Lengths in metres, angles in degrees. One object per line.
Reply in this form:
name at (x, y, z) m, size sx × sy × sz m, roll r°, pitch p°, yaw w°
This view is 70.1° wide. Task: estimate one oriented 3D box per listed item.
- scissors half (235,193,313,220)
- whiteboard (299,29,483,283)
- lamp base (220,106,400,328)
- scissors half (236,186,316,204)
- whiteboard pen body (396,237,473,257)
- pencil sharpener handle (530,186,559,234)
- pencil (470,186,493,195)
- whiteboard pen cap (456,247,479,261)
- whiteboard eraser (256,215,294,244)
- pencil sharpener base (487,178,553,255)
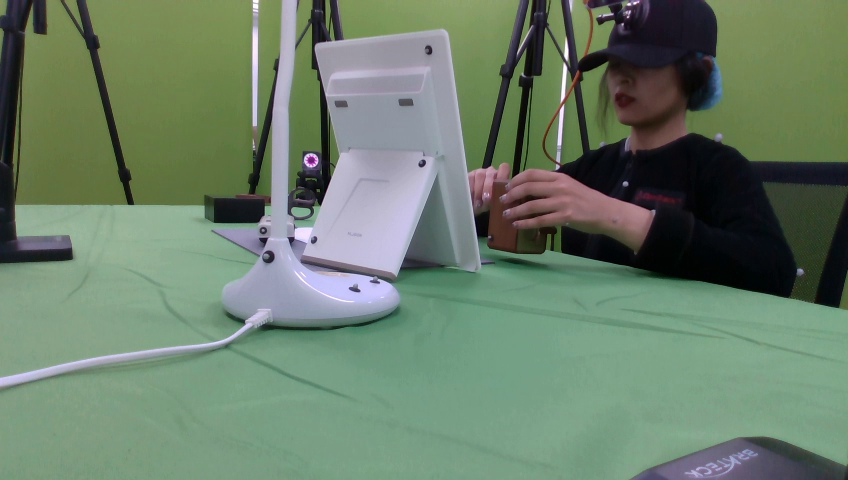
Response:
scissors half at (-0.325, -0.077, 1.319) m, size 0.176 × 0.040 × 0.012 m, roll 17°, pitch 6°, yaw -31°
whiteboard at (-0.074, -0.082, 0.742) m, size 0.216 × 0.305 × 0.144 m, roll 9°, pitch 30°, yaw 38°
lamp base at (-0.101, -0.023, 0.531) m, size 0.160 × 0.180 × 0.179 m, roll 4°, pitch 10°, yaw 10°
scissors half at (-0.320, -0.097, 1.316) m, size 0.176 × 0.040 × 0.013 m, roll -3°, pitch 11°, yaw -29°
whiteboard pen body at (0.014, 0.012, 0.886) m, size 0.140 × 0.017 × 0.017 m, roll 10°, pitch 10°, yaw 38°
pencil sharpener handle at (0.173, -0.041, 0.848) m, size 0.036 × 0.068 × 0.030 m, roll -14°, pitch 14°, yaw -30°
pencil at (0.096, -0.078, 0.971) m, size 0.012 × 0.012 × 0.193 m, roll -3°, pitch 13°, yaw -34°
whiteboard pen cap at (0.060, 0.020, 0.850) m, size 0.033 × 0.018 × 0.018 m, roll 9°, pitch 10°, yaw 37°
whiteboard eraser at (-0.232, -0.016, 0.951) m, size 0.056 × 0.042 × 0.112 m, roll 2°, pitch 7°, yaw -12°
pencil sharpener base at (0.142, -0.034, 0.890) m, size 0.062 × 0.107 × 0.076 m, roll 3°, pitch 5°, yaw -32°
